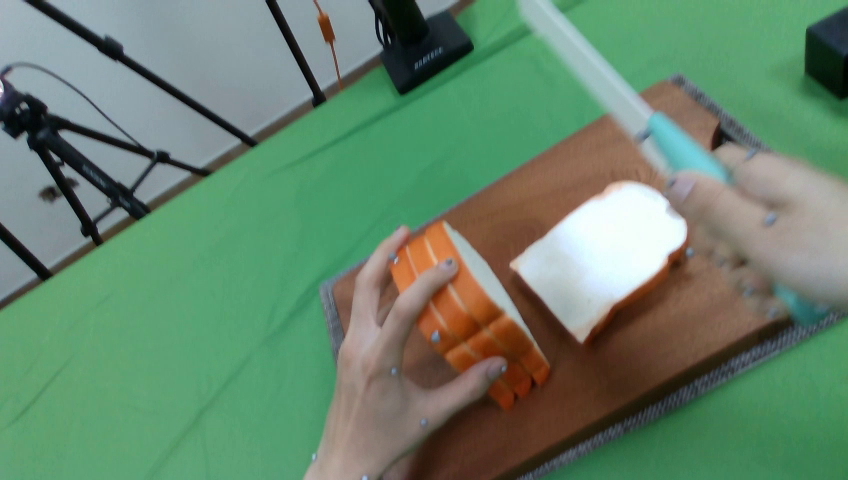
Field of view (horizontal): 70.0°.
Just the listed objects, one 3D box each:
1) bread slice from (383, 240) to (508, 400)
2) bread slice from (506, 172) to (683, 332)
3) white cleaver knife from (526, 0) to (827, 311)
[{"bbox_3d":[0.015,0.055,0.468,0.018,0.136,0.105,-36,44,7],"label":"bread slice"},{"bbox_3d":[0.146,0.003,0.501,0.131,0.019,0.103,-41,44,4],"label":"bread slice"},{"bbox_3d":[0.130,-0.079,0.360,0.021,0.066,0.284,-35,65,11],"label":"white cleaver knife"}]
